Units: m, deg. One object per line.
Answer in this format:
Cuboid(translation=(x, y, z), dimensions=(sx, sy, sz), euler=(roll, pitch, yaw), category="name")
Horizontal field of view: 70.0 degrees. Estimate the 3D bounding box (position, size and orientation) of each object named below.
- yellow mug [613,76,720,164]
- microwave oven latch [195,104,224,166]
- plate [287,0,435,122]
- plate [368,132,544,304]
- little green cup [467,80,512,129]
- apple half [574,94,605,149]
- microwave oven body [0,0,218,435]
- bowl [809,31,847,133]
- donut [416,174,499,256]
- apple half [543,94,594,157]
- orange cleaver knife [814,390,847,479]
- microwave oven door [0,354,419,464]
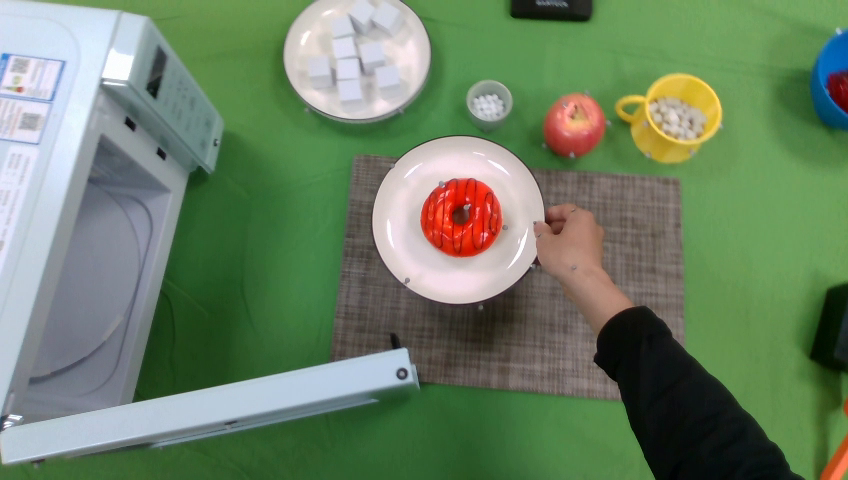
Cuboid(translation=(0.324, -0.167, 0.824), dimensions=(0.131, 0.064, 0.099), euler=(15, 76, 5), category="yellow mug")
Cuboid(translation=(-0.291, -0.142, 0.814), dimensions=(0.030, 0.029, 0.079), euler=(9, 76, 2), category="microwave oven latch")
Cuboid(translation=(-0.088, -0.259, 0.863), dimensions=(0.208, 0.039, 0.206), euler=(0, 75, 0), category="plate")
Cuboid(translation=(0.038, -0.026, 0.727), dimensions=(0.209, 0.038, 0.208), euler=(-1, 79, 5), category="plate")
Cuboid(translation=(0.090, -0.186, 0.844), dimensions=(0.061, 0.039, 0.061), euler=(0, 75, 1), category="little green cup")
Cuboid(translation=(0.224, -0.162, 0.819), dimensions=(0.033, 0.081, 0.081), euler=(-22, 76, -1), category="apple half")
Cuboid(translation=(-0.464, -0.018, 0.682), dimensions=(0.326, 0.261, 0.439), euler=(8, 76, 2), category="microwave oven body")
Cuboid(translation=(0.590, -0.201, 0.826), dimensions=(0.151, 0.077, 0.150), euler=(0, 76, 1), category="bowl")
Cuboid(translation=(0.040, -0.029, 0.716), dimensions=(0.099, 0.048, 0.098), euler=(-1, 81, 6), category="donut")
Cuboid(translation=(0.188, -0.148, 0.817), dimensions=(0.053, 0.075, 0.080), euler=(-22, 80, -1), category="apple half")
Cuboid(translation=(0.520, 0.193, 0.718), dimensions=(0.012, 0.077, 0.212), euler=(24, 109, 9), category="orange cleaver knife")
Cuboid(translation=(-0.185, 0.171, 0.627), dimensions=(0.356, 0.245, 0.039), euler=(-11, 74, -3), category="microwave oven door")
